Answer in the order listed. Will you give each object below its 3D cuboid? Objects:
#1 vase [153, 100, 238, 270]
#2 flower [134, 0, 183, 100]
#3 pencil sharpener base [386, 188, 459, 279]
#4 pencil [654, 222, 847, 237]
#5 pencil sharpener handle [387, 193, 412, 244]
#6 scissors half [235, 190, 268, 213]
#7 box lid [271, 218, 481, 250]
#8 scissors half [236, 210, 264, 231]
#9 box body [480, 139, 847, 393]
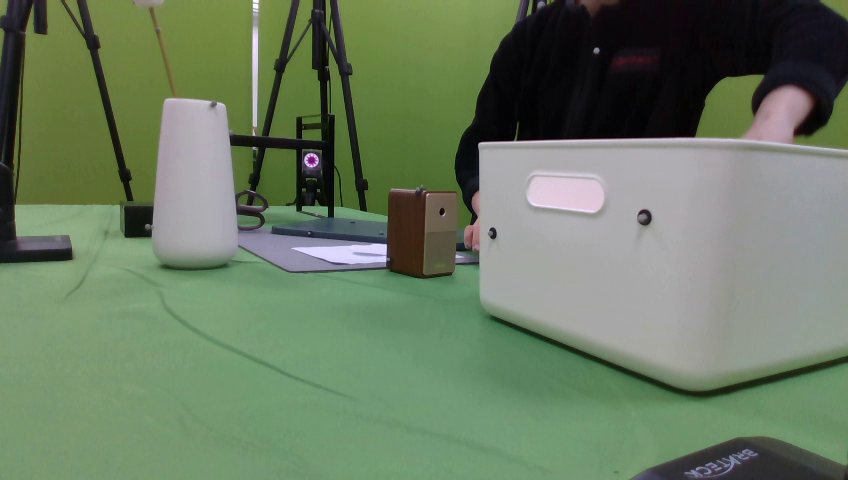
[{"bbox_3d":[-0.278,-0.066,0.736,0.098,0.200,0.098,2,9,0],"label":"vase"},{"bbox_3d":[-0.282,-0.147,0.713,0.038,0.362,0.044,-23,24,-31],"label":"flower"},{"bbox_3d":[-0.004,-0.011,0.761,0.062,0.107,0.076,-5,10,-44],"label":"pencil sharpener base"},{"bbox_3d":[0.310,-0.009,0.561,0.193,0.012,0.012,-2,3,41],"label":"pencil"},{"bbox_3d":[-0.038,-0.029,0.797,0.036,0.068,0.030,-13,16,-42],"label":"pencil sharpener handle"},{"bbox_3d":[-0.363,-0.070,1.060,0.176,0.040,0.013,0,16,-23],"label":"scissors half"},{"bbox_3d":[-0.072,-0.014,1.141,0.371,0.015,0.264,5,7,16],"label":"box lid"},{"bbox_3d":[-0.369,-0.051,1.065,0.176,0.040,0.012,19,14,-27],"label":"scissors half"},{"bbox_3d":[0.255,0.001,0.541,0.366,0.160,0.253,-2,9,-31],"label":"box body"}]
